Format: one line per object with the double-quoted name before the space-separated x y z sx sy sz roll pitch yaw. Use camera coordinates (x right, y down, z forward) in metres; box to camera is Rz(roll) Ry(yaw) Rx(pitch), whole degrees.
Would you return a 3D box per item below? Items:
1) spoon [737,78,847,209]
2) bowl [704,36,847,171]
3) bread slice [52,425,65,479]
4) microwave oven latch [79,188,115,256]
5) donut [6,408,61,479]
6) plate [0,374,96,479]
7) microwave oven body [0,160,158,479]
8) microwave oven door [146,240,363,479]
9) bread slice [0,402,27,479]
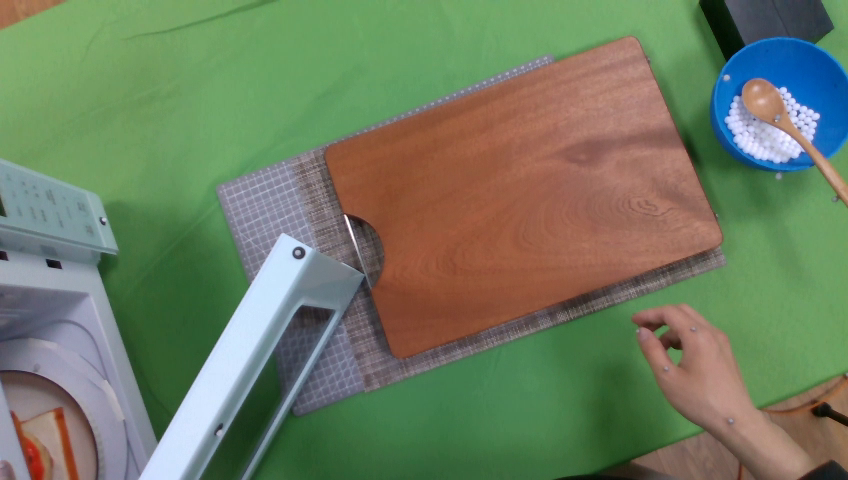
"spoon" 0.404 -0.104 0.653 0.041 0.022 0.191 -22 59 -1
"bowl" 0.386 -0.143 0.689 0.151 0.077 0.151 0 83 4
"bread slice" -0.457 0.252 0.650 0.131 0.019 0.104 0 83 3
"microwave oven latch" -0.402 -0.021 0.728 0.030 0.029 0.079 -23 83 0
"donut" -0.429 0.225 0.629 0.099 0.048 0.098 -1 78 3
"plate" -0.452 0.248 0.648 0.208 0.039 0.207 0 82 -1
"microwave oven body" -0.477 0.184 0.609 0.326 0.261 0.440 -23 82 0
"microwave oven door" -0.179 0.171 0.587 0.039 0.244 0.355 28 85 8
"bread slice" -0.448 0.227 0.589 0.134 0.018 0.106 -25 83 12
